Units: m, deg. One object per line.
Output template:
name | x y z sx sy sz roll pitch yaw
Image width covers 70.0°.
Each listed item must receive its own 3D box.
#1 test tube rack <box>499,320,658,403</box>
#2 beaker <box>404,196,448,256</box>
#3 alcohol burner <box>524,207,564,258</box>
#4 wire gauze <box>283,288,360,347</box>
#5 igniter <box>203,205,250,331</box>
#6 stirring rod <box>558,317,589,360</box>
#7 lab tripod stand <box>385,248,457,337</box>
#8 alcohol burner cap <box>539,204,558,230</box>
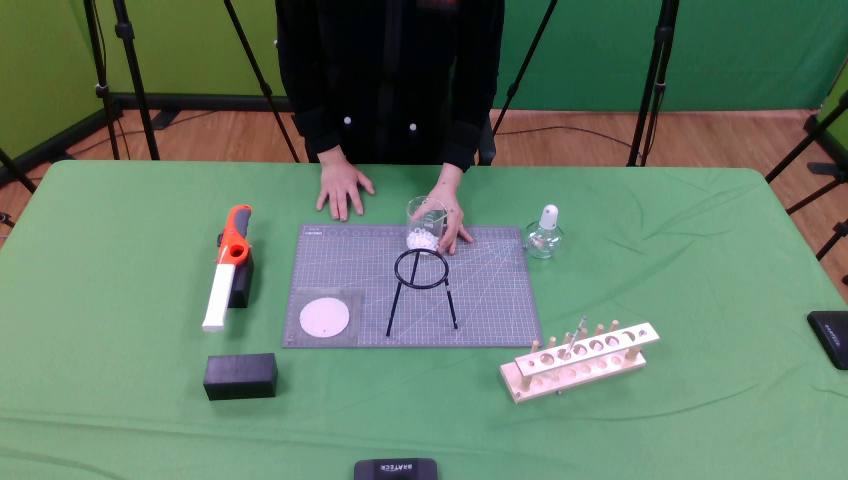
test tube rack | 0.252 0.187 0.994 0.243 0.085 0.066 -12 48 -15
beaker | 0.001 -0.024 1.164 0.084 0.101 0.073 5 46 0
alcohol burner | 0.236 -0.021 1.174 0.078 0.120 0.077 1 48 -1
wire gauze | -0.178 0.132 1.063 0.125 0.011 0.120 2 46 1
igniter | -0.345 0.038 1.065 0.057 0.025 0.274 3 49 -6
stirring rod | 0.221 0.155 0.912 0.014 0.177 0.006 5 58 2
lab tripod stand | -0.010 0.087 1.032 0.148 0.132 0.147 1 45 -1
alcohol burner cap | 0.238 -0.046 1.148 0.034 0.048 0.033 2 42 -1
